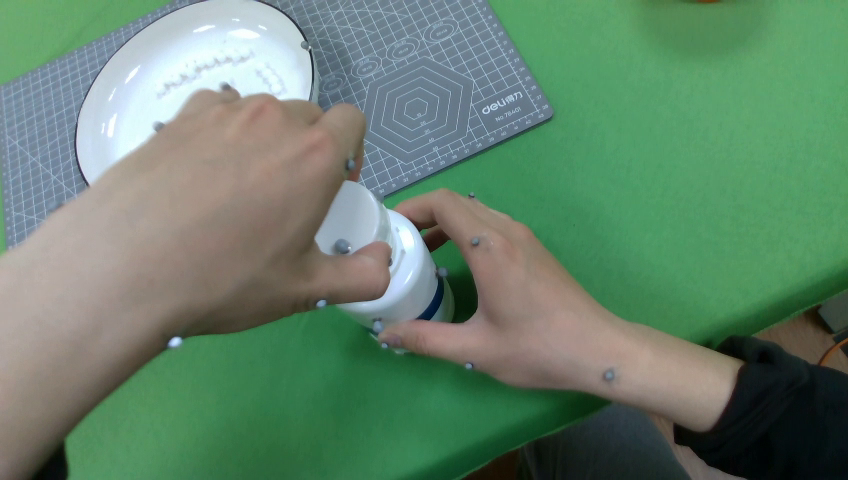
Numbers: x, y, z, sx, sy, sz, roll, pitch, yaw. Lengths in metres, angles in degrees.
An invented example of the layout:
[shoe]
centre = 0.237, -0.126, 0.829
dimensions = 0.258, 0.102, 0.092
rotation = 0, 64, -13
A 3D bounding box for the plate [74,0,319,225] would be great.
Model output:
[plate]
centre = -0.179, -0.103, 0.493
dimensions = 0.207, 0.039, 0.206
rotation = -5, 67, 11

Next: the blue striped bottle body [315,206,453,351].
[blue striped bottle body]
centre = -0.023, 0.022, 0.360
dimensions = 0.063, 0.122, 0.062
rotation = -5, 66, 12

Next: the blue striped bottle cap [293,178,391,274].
[blue striped bottle cap]
centre = -0.039, -0.007, 0.290
dimensions = 0.044, 0.021, 0.044
rotation = -4, 76, 15
